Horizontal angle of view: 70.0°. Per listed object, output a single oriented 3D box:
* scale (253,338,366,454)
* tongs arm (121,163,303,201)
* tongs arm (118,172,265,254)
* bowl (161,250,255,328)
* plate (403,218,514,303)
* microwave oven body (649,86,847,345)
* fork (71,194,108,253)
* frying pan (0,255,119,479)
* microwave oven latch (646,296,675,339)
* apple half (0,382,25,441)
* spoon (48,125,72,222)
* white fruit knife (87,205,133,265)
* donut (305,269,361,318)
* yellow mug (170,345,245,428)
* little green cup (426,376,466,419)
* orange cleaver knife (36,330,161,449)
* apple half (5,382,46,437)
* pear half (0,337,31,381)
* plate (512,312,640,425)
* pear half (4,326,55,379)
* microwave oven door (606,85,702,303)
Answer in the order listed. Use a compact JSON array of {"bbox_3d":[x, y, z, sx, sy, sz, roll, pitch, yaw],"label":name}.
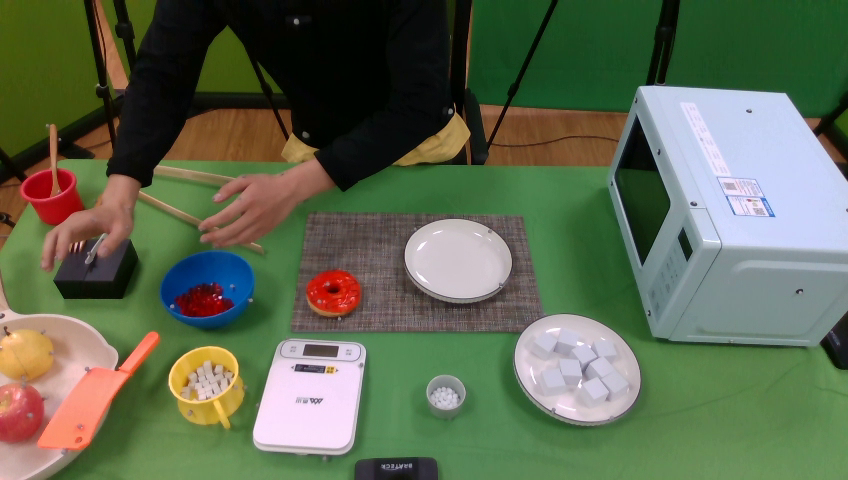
[{"bbox_3d":[-0.175,0.236,0.951,0.149,0.032,0.199,4,45,-1],"label":"scale"},{"bbox_3d":[-0.443,-0.114,1.266,0.384,0.026,0.050,12,51,8],"label":"tongs arm"},{"bbox_3d":[-0.472,-0.054,1.212,0.386,0.028,0.028,23,57,17],"label":"tongs arm"},{"bbox_3d":[-0.362,0.098,1.040,0.151,0.077,0.150,2,45,-2],"label":"bowl"},{"bbox_3d":[0.064,0.042,1.146,0.209,0.038,0.208,2,46,-2],"label":"plate"},{"bbox_3d":[0.567,-0.053,1.118,0.326,0.261,0.439,2,45,-1],"label":"microwave oven body"},{"bbox_3d":[-0.635,-0.036,1.158,0.028,0.019,0.206,-8,32,-7],"label":"fork"},{"bbox_3d":[-0.647,0.164,0.936,0.307,0.103,0.485,-19,58,-22],"label":"frying pan"},{"bbox_3d":[0.412,0.134,1.061,0.030,0.029,0.078,4,45,1],"label":"microwave oven latch"},{"bbox_3d":[-0.605,0.250,0.871,0.053,0.075,0.080,-9,51,-7],"label":"apple half"},{"bbox_3d":[-0.718,-0.131,1.189,0.041,0.021,0.193,-3,90,-7],"label":"spoon"},{"bbox_3d":[-0.584,-0.013,1.129,0.016,0.027,0.206,0,31,-5],"label":"white fruit knife"},{"bbox_3d":[-0.160,0.095,1.075,0.099,0.048,0.098,4,45,-4],"label":"donut"},{"bbox_3d":[-0.322,0.230,0.922,0.100,0.064,0.130,-24,53,-25],"label":"yellow mug"},{"bbox_3d":[0.033,0.248,0.950,0.061,0.039,0.061,2,46,-2],"label":"little green cup"},{"bbox_3d":[-0.466,0.210,0.880,0.077,0.012,0.210,15,46,9],"label":"orange cleaver knife"},{"bbox_3d":[-0.567,0.244,0.877,0.033,0.082,0.080,-9,47,-7],"label":"apple half"},{"bbox_3d":[-0.632,0.185,0.920,0.070,0.088,0.031,29,49,20],"label":"pear half"},{"bbox_3d":[0.246,0.213,0.999,0.208,0.039,0.206,2,46,-2],"label":"plate"},{"bbox_3d":[-0.609,0.159,0.933,0.076,0.110,0.056,32,52,20],"label":"pear half"},{"bbox_3d":[0.422,-0.094,1.140,0.039,0.245,0.353,2,46,-1],"label":"microwave oven door"}]
